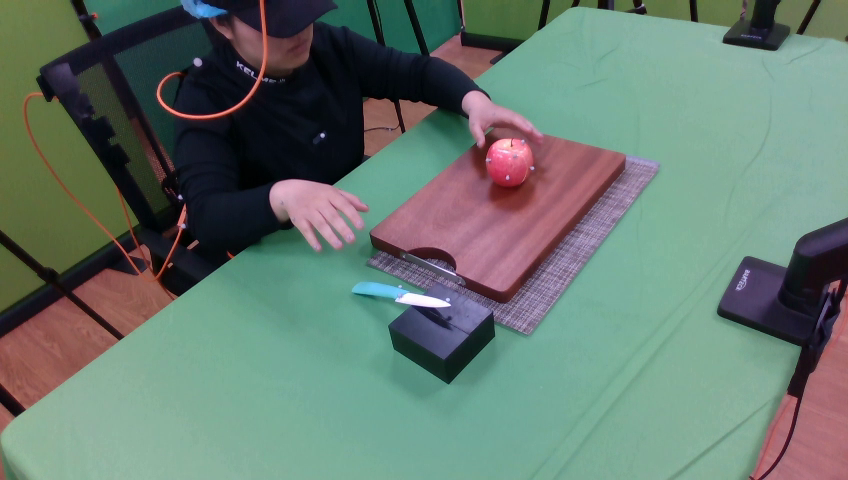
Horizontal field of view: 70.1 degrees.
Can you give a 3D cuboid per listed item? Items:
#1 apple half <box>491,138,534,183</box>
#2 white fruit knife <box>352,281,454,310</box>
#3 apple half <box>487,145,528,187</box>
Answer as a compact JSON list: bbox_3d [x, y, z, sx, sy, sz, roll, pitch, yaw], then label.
[{"bbox_3d":[0.156,-0.139,1.038,0.080,0.075,0.053,16,42,32],"label":"apple half"},{"bbox_3d":[-0.031,0.079,0.855,0.205,0.016,0.027,6,39,47],"label":"white fruit knife"},{"bbox_3d":[0.134,-0.117,1.014,0.080,0.081,0.033,18,44,29],"label":"apple half"}]
